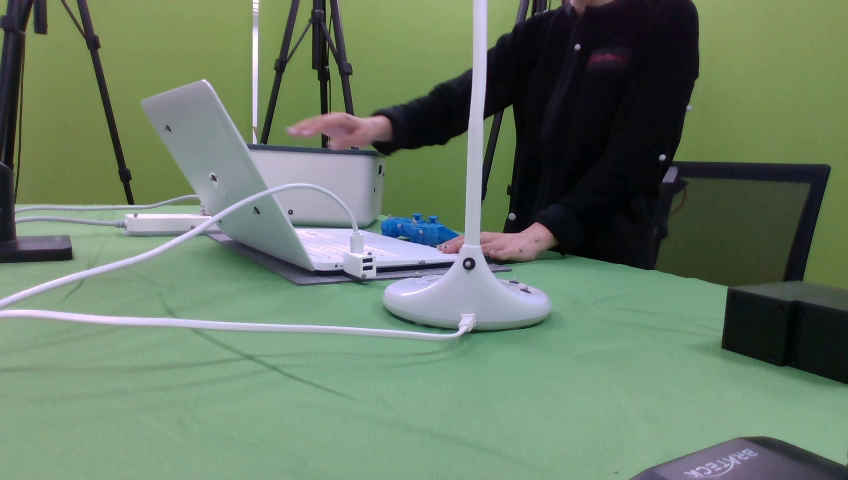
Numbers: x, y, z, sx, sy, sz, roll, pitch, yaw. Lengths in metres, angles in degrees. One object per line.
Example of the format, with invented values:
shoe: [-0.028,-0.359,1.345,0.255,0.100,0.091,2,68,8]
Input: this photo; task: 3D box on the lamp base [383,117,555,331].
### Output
lamp base: [0.045,-0.019,0.547,0.161,0.180,0.179,2,10,-4]

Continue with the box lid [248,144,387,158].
box lid: [-0.275,-0.196,1.326,0.372,0.015,0.263,4,8,1]

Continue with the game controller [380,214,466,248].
game controller: [-0.006,-0.017,1.039,0.097,0.051,0.154,-5,10,-34]

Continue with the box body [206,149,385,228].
box body: [-0.276,-0.124,1.334,0.364,0.160,0.254,3,7,1]

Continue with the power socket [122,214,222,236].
power socket: [-0.399,-0.028,1.049,0.228,0.032,0.072,-3,8,-34]

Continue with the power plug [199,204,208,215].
power plug: [-0.387,-0.055,1.089,0.035,0.052,0.072,-1,7,-22]

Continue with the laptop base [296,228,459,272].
laptop base: [-0.122,0.011,0.889,0.237,0.023,0.352,2,6,-35]

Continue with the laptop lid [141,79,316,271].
laptop lid: [-0.265,-0.082,0.775,0.013,0.242,0.355,-37,28,-25]

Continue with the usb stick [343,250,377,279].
usb stick: [-0.076,0.026,0.687,0.021,0.027,0.059,-8,9,-31]
